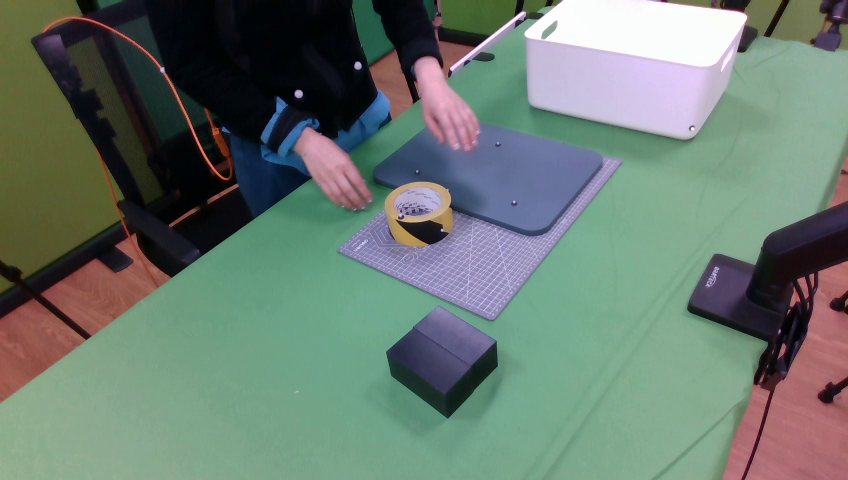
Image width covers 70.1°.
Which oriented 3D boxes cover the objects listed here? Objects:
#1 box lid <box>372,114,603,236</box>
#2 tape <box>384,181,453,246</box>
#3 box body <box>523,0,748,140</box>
[{"bbox_3d":[0.115,-0.133,1.112,0.368,0.015,0.264,21,48,29],"label":"box lid"},{"bbox_3d":[-0.009,-0.045,0.994,0.117,0.053,0.116,-4,40,4],"label":"tape"},{"bbox_3d":[0.412,-0.354,1.212,0.361,0.161,0.254,20,48,29],"label":"box body"}]
